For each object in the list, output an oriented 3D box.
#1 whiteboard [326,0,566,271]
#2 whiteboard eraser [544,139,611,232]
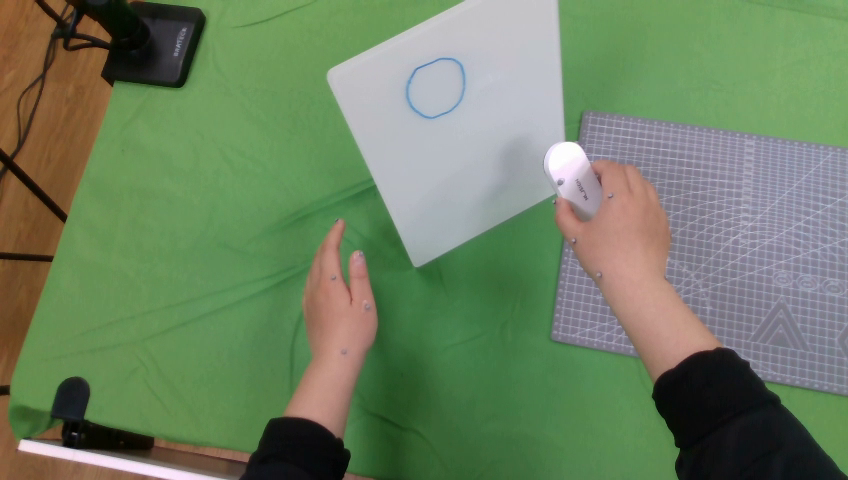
[{"bbox_3d":[0.022,-0.146,0.656,0.217,0.309,0.142,-28,53,-4],"label":"whiteboard"},{"bbox_3d":[0.151,-0.053,0.595,0.041,0.018,0.102,-35,110,-9],"label":"whiteboard eraser"}]
